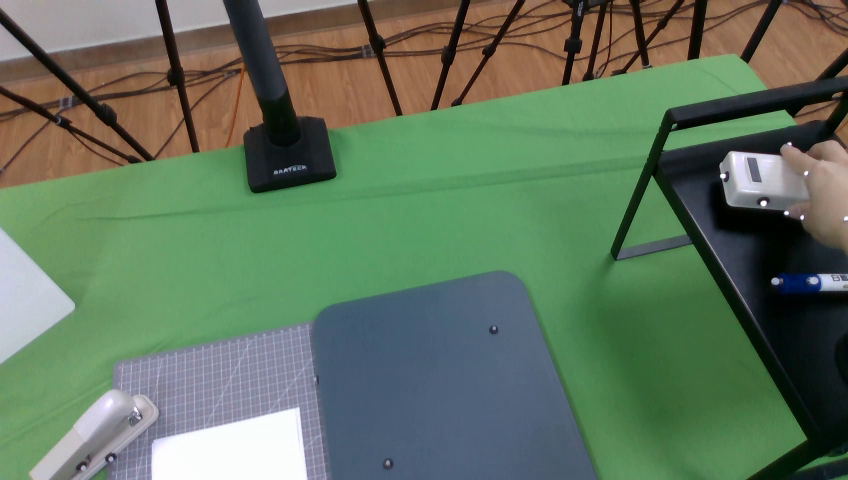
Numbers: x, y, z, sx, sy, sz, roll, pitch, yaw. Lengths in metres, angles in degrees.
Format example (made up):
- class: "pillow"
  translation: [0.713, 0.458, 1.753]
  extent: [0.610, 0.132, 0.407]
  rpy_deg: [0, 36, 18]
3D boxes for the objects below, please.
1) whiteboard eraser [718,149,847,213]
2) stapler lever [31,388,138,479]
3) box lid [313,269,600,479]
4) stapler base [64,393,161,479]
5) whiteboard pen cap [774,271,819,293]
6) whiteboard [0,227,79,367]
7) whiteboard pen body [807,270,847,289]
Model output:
- class: "whiteboard eraser"
  translation: [0.340, -0.054, 0.572]
  extent: [0.112, 0.042, 0.055]
  rpy_deg: [4, 52, 4]
- class: "stapler lever"
  translation: [-0.344, 0.200, 0.613]
  extent: [0.026, 0.040, 0.118]
  rpy_deg: [35, 66, 27]
- class: "box lid"
  translation: [0.031, 0.201, 0.643]
  extent: [0.264, 0.015, 0.367]
  rpy_deg: [-11, 56, -8]
- class: "stapler base"
  translation: [-0.341, 0.213, 0.634]
  extent: [0.041, 0.025, 0.130]
  rpy_deg: [35, 66, 27]
- class: "whiteboard pen cap"
  translation: [0.321, 0.036, 0.520]
  extent: [0.033, 0.018, 0.018]
  rpy_deg: [6, 55, -5]
- class: "whiteboard"
  translation: [-0.579, 0.018, 0.642]
  extent: [0.217, 0.309, 0.142]
  rpy_deg: [-42, 45, -23]
- class: "whiteboard pen body"
  translation: [0.382, 0.034, 0.522]
  extent: [0.141, 0.017, 0.017]
  rpy_deg: [0, 55, -3]
